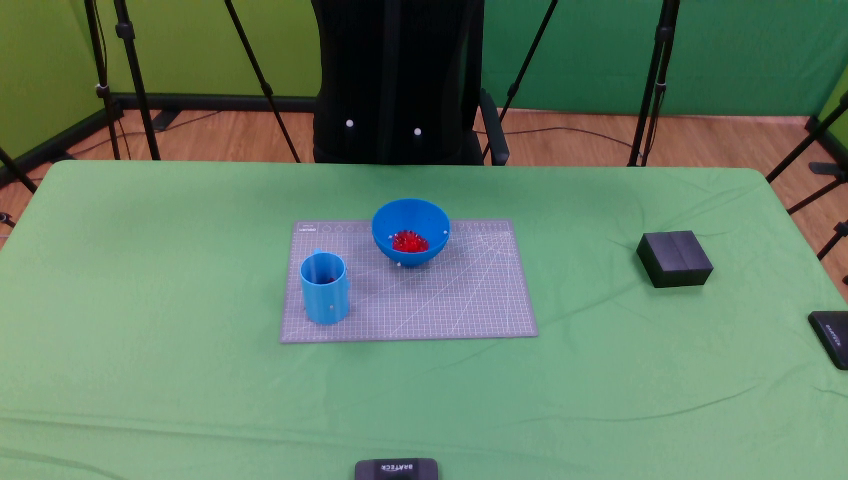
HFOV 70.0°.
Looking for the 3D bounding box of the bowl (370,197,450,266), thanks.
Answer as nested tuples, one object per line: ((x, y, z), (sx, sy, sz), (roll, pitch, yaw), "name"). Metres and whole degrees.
((-0.028, -0.003, 1.156), (0.151, 0.077, 0.150), (2, 46, -2), "bowl")

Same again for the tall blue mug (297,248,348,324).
((-0.183, 0.075, 1.047), (0.106, 0.108, 0.078), (37, 55, 27), "tall blue mug")
